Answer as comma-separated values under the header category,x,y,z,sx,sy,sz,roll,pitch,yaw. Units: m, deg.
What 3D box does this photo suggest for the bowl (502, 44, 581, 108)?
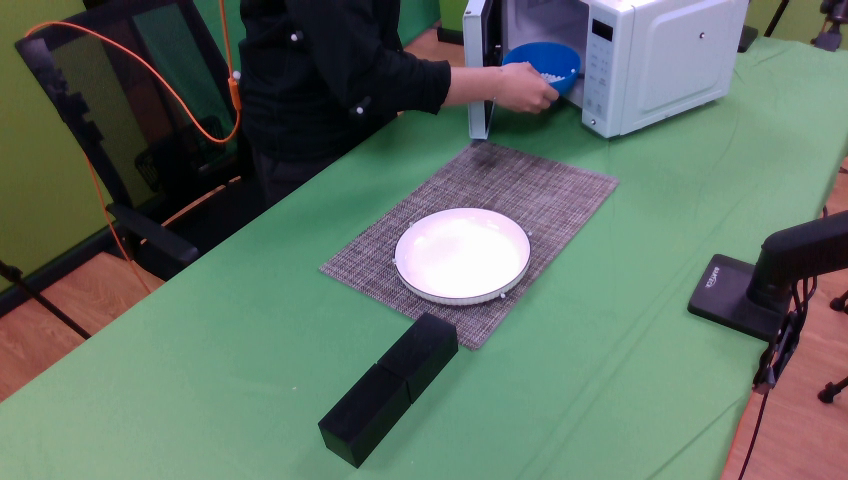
category,x,y,z,sx,sy,sz,roll,pitch,yaw
bowl,0.228,-0.314,1.188,0.151,0.077,0.150,-3,45,4

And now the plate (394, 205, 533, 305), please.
category,x,y,z,sx,sy,sz,roll,pitch,yaw
plate,0.059,0.025,0.915,0.207,0.039,0.206,-4,41,4

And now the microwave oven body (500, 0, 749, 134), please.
category,x,y,z,sx,sy,sz,roll,pitch,yaw
microwave oven body,0.382,-0.444,1.246,0.327,0.261,0.437,-22,42,-16

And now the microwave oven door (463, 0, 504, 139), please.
category,x,y,z,sx,sy,sz,roll,pitch,yaw
microwave oven door,0.125,-0.403,1.226,0.039,0.245,0.355,3,42,12

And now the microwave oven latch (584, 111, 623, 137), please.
category,x,y,z,sx,sy,sz,roll,pitch,yaw
microwave oven latch,0.337,-0.222,1.142,0.030,0.029,0.078,-21,42,-14
